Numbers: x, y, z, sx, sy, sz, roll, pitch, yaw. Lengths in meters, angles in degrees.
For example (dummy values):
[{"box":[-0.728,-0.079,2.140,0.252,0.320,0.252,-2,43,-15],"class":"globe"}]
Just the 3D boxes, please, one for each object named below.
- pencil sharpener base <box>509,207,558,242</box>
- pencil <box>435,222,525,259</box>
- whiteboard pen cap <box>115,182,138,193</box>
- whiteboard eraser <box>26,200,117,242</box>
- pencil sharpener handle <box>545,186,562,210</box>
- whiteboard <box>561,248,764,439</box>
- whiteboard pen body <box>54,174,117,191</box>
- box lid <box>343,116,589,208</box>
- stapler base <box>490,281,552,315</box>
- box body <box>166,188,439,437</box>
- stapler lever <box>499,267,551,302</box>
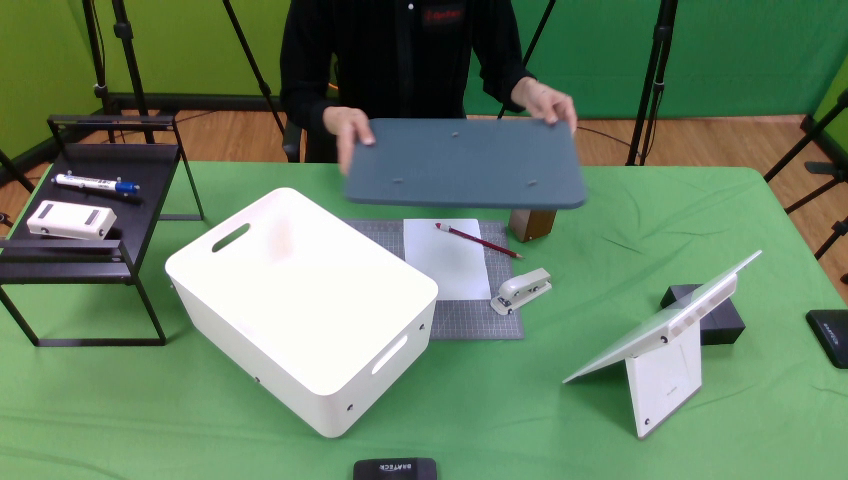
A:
[{"box":[0.222,-0.059,1.212,0.077,0.107,0.061,-18,50,-21],"class":"pencil sharpener base"},{"box":[0.111,0.002,1.211,0.193,0.012,0.012,22,49,14],"class":"pencil"},{"box":[-0.483,-0.086,0.984,0.033,0.018,0.018,7,46,10],"class":"whiteboard pen cap"},{"box":[-0.532,-0.026,0.919,0.113,0.042,0.055,7,45,3],"class":"whiteboard eraser"},{"box":[0.266,-0.085,1.223,0.031,0.068,0.036,-18,64,-21],"class":"pencil sharpener handle"},{"box":[0.386,0.176,0.905,0.217,0.306,0.143,-26,72,-27],"class":"whiteboard"},{"box":[-0.541,-0.093,0.993,0.140,0.017,0.017,7,46,9],"class":"whiteboard pen body"},{"box":[0.069,-0.133,0.981,0.371,0.015,0.261,1,39,3],"class":"box lid"},{"box":[0.181,0.094,1.118,0.130,0.024,0.041,-24,57,-29],"class":"stapler base"},{"box":[-0.190,0.109,0.980,0.362,0.161,0.254,32,52,24],"class":"box body"},{"box":[0.185,0.076,1.101,0.118,0.040,0.026,-25,57,-29],"class":"stapler lever"}]
